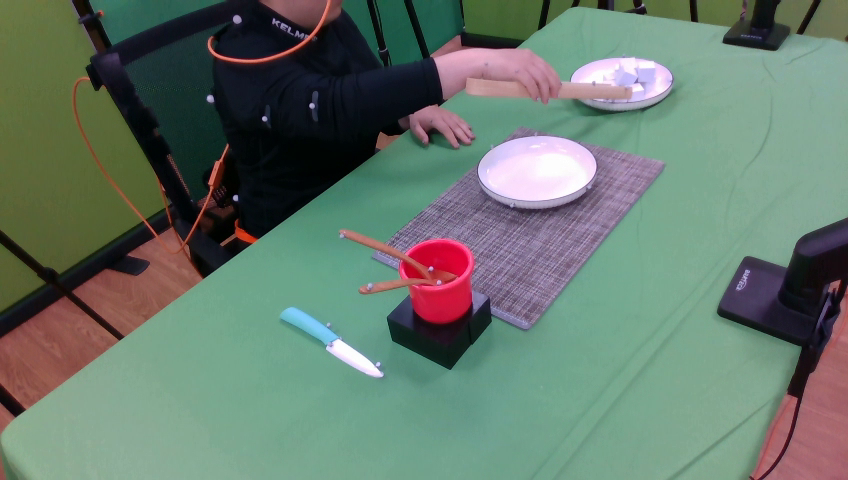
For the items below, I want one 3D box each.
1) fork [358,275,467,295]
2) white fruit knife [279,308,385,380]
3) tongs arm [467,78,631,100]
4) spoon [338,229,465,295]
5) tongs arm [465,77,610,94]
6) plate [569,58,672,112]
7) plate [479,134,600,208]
[{"bbox_3d":[-0.009,0.056,0.739,0.028,0.018,0.209,48,23,26],"label":"fork"},{"bbox_3d":[-0.130,0.143,0.845,0.205,0.016,0.027,25,79,32],"label":"white fruit knife"},{"bbox_3d":[0.240,-0.271,1.093,0.388,0.026,0.050,-9,23,-37],"label":"tongs arm"},{"bbox_3d":[-0.025,0.026,0.776,0.021,0.195,0.041,-41,34,31],"label":"spoon"},{"bbox_3d":[0.221,-0.280,1.118,0.390,0.028,0.028,-8,26,-35],"label":"tongs arm"},{"bbox_3d":[0.411,-0.323,1.274,0.209,0.038,0.208,-5,41,5],"label":"plate"},{"bbox_3d":[0.202,-0.117,1.065,0.207,0.039,0.206,-5,40,5],"label":"plate"}]
